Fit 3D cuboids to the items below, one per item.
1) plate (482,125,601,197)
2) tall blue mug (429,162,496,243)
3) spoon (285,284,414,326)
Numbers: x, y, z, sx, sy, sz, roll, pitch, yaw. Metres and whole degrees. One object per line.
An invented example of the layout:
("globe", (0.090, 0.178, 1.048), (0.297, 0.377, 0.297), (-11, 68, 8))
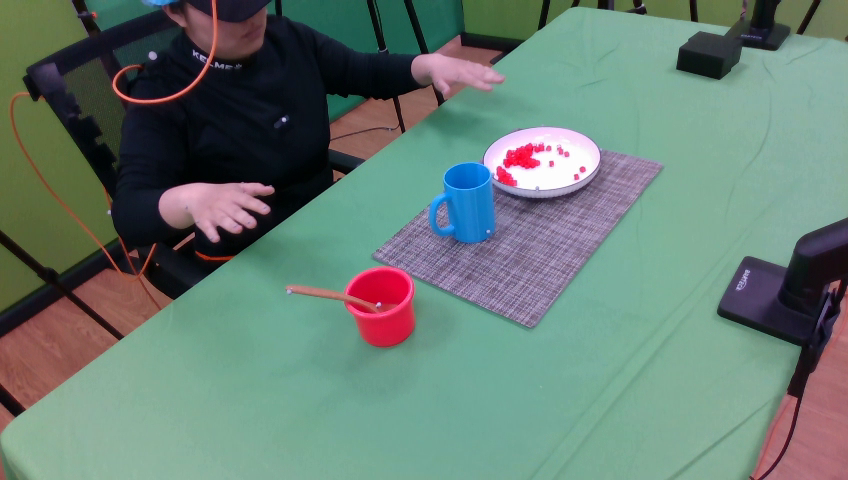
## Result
("plate", (0.210, -0.138, 1.091), (0.207, 0.039, 0.206), (-5, 40, 5))
("tall blue mug", (0.066, -0.051, 0.960), (0.077, 0.108, 0.107), (17, 47, 27))
("spoon", (-0.096, 0.083, 0.812), (0.195, 0.021, 0.041), (22, 31, -34))
